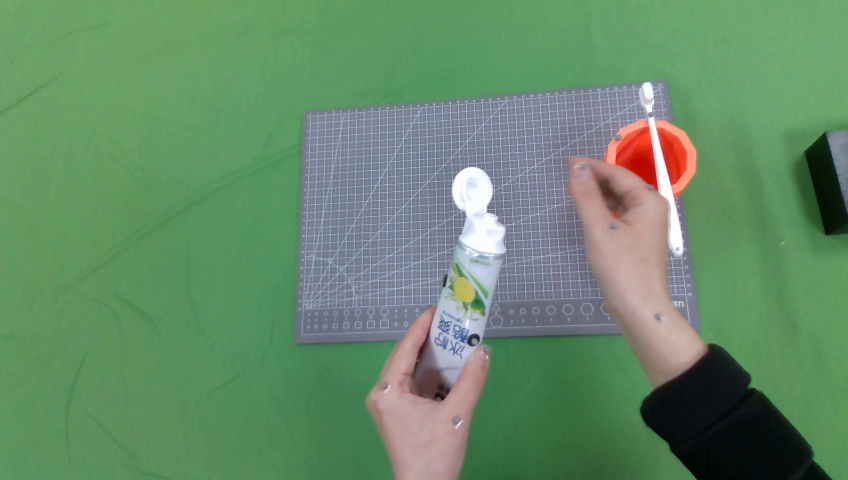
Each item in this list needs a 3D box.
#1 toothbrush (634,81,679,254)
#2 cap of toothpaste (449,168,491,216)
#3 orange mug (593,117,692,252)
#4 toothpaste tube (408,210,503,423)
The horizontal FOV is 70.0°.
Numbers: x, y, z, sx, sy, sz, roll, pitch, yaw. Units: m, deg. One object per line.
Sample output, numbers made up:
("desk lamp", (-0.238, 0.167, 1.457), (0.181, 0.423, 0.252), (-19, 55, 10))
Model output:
("toothbrush", (0.229, -0.074, 0.594), (0.014, 0.017, 0.181), (-6, 74, 3))
("cap of toothpaste", (0.035, -0.034, 0.439), (0.037, 0.011, 0.037), (-3, 96, -30))
("orange mug", (0.227, -0.054, 0.643), (0.083, 0.101, 0.125), (5, 71, 10))
("toothpaste tube", (0.025, 0.055, 0.450), (0.054, 0.035, 0.166), (26, 112, 34))
